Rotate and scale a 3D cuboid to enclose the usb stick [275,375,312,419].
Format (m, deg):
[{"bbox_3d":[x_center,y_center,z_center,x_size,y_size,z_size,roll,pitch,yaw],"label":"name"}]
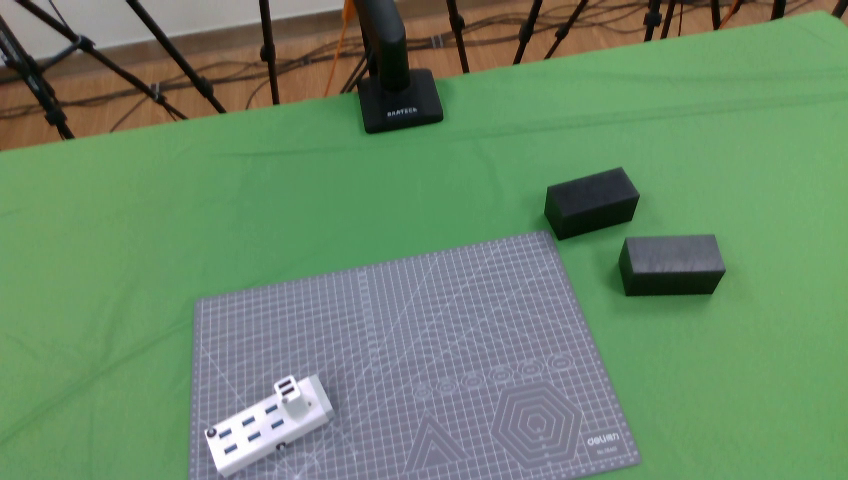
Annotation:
[{"bbox_3d":[-0.131,0.163,0.618,0.021,0.060,0.027,-29,54,-14],"label":"usb stick"}]

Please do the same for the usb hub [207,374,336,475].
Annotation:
[{"bbox_3d":[-0.159,0.191,0.636,0.125,0.025,0.049,-25,55,-14],"label":"usb hub"}]
